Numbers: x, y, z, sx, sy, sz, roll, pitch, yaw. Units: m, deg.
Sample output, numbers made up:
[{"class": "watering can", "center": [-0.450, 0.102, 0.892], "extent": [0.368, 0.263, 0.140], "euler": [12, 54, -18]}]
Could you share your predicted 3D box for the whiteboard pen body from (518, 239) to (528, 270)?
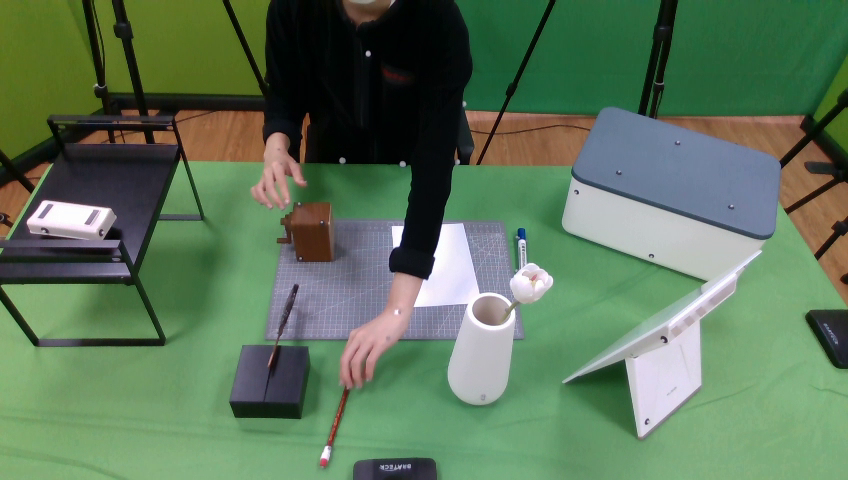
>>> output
[{"class": "whiteboard pen body", "center": [0.193, 0.035, 1.180], "extent": [0.017, 0.017, 0.140], "euler": [6, 48, 1]}]

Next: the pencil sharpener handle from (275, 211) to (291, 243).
[{"class": "pencil sharpener handle", "center": [-0.261, -0.022, 1.118], "extent": [0.031, 0.068, 0.036], "euler": [0, 36, -4]}]

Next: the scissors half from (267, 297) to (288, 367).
[{"class": "scissors half", "center": [-0.238, 0.150, 0.996], "extent": [0.013, 0.040, 0.174], "euler": [23, 24, -12]}]

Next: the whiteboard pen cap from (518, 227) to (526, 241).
[{"class": "whiteboard pen cap", "center": [0.197, -0.009, 1.219], "extent": [0.018, 0.018, 0.033], "euler": [6, 51, 1]}]

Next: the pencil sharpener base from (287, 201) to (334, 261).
[{"class": "pencil sharpener base", "center": [-0.211, -0.016, 1.133], "extent": [0.077, 0.107, 0.061], "euler": [0, 47, -4]}]

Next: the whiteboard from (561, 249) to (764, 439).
[{"class": "whiteboard", "center": [0.386, 0.176, 0.905], "extent": [0.217, 0.306, 0.143], "euler": [-26, 72, -26]}]

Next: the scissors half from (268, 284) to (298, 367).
[{"class": "scissors half", "center": [-0.230, 0.135, 0.986], "extent": [0.013, 0.040, 0.174], "euler": [18, 43, -10]}]

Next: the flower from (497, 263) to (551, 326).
[{"class": "flower", "center": [0.102, 0.121, 0.852], "extent": [0.044, 0.363, 0.038], "euler": [-1, 64, -9]}]

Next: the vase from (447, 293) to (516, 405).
[{"class": "vase", "center": [0.091, 0.169, 0.921], "extent": [0.098, 0.201, 0.097], "euler": [3, 47, -3]}]

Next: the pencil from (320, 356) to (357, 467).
[{"class": "pencil", "center": [-0.130, 0.261, 0.946], "extent": [0.012, 0.012, 0.193], "euler": [10, 45, 5]}]

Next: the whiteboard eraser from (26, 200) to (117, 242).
[{"class": "whiteboard eraser", "center": [-0.532, -0.026, 0.919], "extent": [0.113, 0.042, 0.055], "euler": [7, 45, 3]}]

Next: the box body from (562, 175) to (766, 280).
[{"class": "box body", "center": [0.486, -0.088, 1.222], "extent": [0.363, 0.161, 0.253], "euler": [20, 48, 15]}]

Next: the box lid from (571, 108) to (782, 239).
[{"class": "box lid", "center": [0.491, -0.139, 1.168], "extent": [0.370, 0.015, 0.262], "euler": [21, 49, 15]}]
